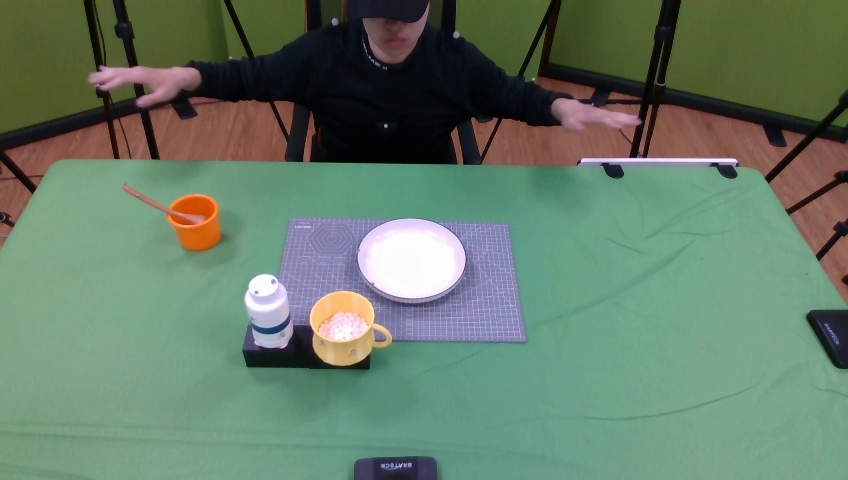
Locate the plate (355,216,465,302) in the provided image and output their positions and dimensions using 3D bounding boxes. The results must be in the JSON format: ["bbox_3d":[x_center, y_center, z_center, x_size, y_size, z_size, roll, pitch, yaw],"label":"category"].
[{"bbox_3d":[-0.027,0.039,1.144,0.208,0.039,0.206,2,46,-2],"label":"plate"}]

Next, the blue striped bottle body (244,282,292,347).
[{"bbox_3d":[-0.241,0.108,0.937,0.063,0.121,0.062,2,46,-2],"label":"blue striped bottle body"}]

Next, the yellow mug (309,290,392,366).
[{"bbox_3d":[-0.114,0.141,0.954,0.131,0.064,0.099,12,47,6],"label":"yellow mug"}]

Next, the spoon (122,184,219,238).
[{"bbox_3d":[-0.463,-0.053,1.118,0.195,0.021,0.041,28,37,-35],"label":"spoon"}]

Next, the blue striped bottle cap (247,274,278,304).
[{"bbox_3d":[-0.239,0.072,0.900,0.044,0.021,0.044,4,46,-4],"label":"blue striped bottle cap"}]
